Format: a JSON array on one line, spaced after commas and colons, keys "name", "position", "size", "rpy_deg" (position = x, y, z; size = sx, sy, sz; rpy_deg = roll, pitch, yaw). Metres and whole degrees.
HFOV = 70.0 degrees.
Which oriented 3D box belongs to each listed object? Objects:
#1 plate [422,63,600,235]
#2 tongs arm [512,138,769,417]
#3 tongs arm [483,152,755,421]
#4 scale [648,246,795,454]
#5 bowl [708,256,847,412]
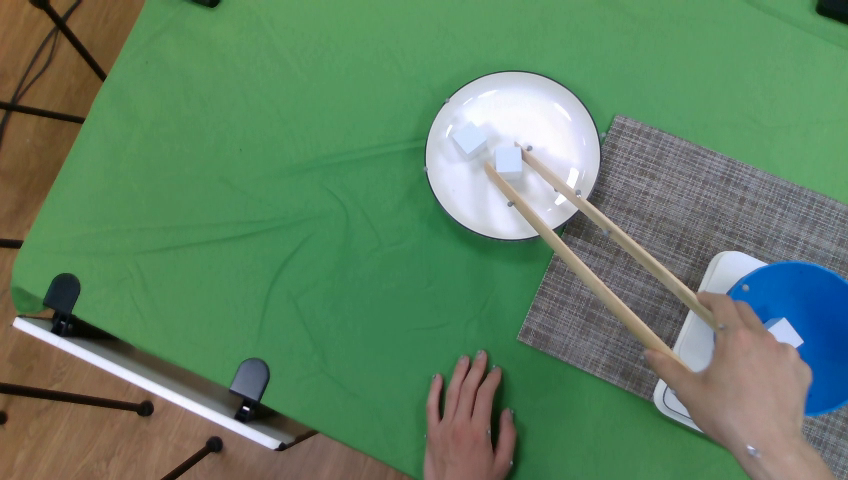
[{"name": "plate", "position": [0.102, -0.107, 0.727], "size": [0.207, 0.039, 0.207], "rpy_deg": [-1, 82, 5]}, {"name": "tongs arm", "position": [0.187, 0.011, 0.605], "size": [0.051, 0.027, 0.380], "rpy_deg": [-31, 51, -12]}, {"name": "tongs arm", "position": [0.163, 0.024, 0.601], "size": [0.028, 0.028, 0.383], "rpy_deg": [-26, 50, -13]}, {"name": "scale", "position": [0.355, 0.120, 0.672], "size": [0.148, 0.031, 0.200], "rpy_deg": [25, 85, 8]}, {"name": "bowl", "position": [0.359, 0.095, 0.622], "size": [0.151, 0.077, 0.151], "rpy_deg": [-1, 83, 4]}]
